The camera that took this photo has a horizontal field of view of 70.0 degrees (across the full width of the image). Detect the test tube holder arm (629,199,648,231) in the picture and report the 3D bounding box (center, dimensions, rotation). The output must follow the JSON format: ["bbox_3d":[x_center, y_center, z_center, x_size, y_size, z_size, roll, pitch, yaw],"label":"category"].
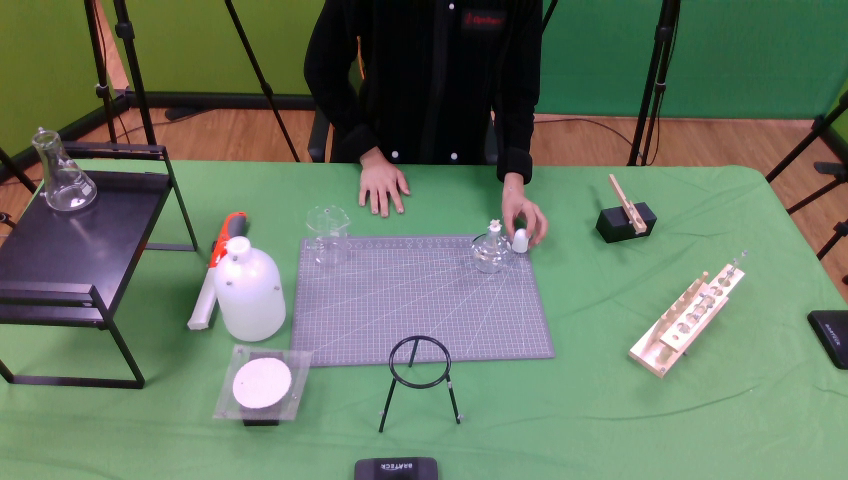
[{"bbox_3d":[0.423,-0.050,1.206,0.010,0.015,0.087,1,41,-12],"label":"test tube holder arm"}]

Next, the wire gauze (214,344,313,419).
[{"bbox_3d":[-0.241,0.213,0.916,0.121,0.011,0.124,5,46,1],"label":"wire gauze"}]

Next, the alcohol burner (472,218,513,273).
[{"bbox_3d":[0.128,0.005,1.132,0.078,0.120,0.077,0,47,0],"label":"alcohol burner"}]

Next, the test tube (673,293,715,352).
[{"bbox_3d":[0.429,0.137,0.979,0.017,0.151,0.017,5,46,-5],"label":"test tube"}]

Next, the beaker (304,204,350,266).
[{"bbox_3d":[-0.178,-0.006,1.132,0.084,0.101,0.073,4,46,-1],"label":"beaker"}]

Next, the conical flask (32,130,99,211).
[{"bbox_3d":[-0.565,-0.111,0.944,0.075,0.122,0.075,2,46,-2],"label":"conical flask"}]

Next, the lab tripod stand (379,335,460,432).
[{"bbox_3d":[-0.011,0.214,0.912,0.148,0.132,0.147,1,45,0],"label":"lab tripod stand"}]

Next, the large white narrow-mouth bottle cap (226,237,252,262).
[{"bbox_3d":[-0.282,0.014,0.923,0.038,0.024,0.037,2,46,-2],"label":"large white narrow-mouth bottle cap"}]

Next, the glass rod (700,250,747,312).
[{"bbox_3d":[0.500,0.075,1.021,0.008,0.201,0.008,0,54,1],"label":"glass rod"}]

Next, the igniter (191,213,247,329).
[{"bbox_3d":[-0.376,0.047,1.121,0.057,0.025,0.275,-4,46,6],"label":"igniter"}]

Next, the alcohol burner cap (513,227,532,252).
[{"bbox_3d":[0.193,-0.004,1.180,0.034,0.048,0.033,4,42,-4],"label":"alcohol burner cap"}]

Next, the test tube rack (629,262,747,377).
[{"bbox_3d":[0.464,0.126,1.061,0.242,0.085,0.066,-34,56,-31],"label":"test tube rack"}]

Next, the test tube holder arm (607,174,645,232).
[{"bbox_3d":[0.411,-0.080,1.238,0.013,0.015,0.177,1,41,-13],"label":"test tube holder arm"}]

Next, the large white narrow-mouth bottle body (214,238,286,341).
[{"bbox_3d":[-0.285,0.073,0.986,0.102,0.195,0.101,2,46,-2],"label":"large white narrow-mouth bottle body"}]
